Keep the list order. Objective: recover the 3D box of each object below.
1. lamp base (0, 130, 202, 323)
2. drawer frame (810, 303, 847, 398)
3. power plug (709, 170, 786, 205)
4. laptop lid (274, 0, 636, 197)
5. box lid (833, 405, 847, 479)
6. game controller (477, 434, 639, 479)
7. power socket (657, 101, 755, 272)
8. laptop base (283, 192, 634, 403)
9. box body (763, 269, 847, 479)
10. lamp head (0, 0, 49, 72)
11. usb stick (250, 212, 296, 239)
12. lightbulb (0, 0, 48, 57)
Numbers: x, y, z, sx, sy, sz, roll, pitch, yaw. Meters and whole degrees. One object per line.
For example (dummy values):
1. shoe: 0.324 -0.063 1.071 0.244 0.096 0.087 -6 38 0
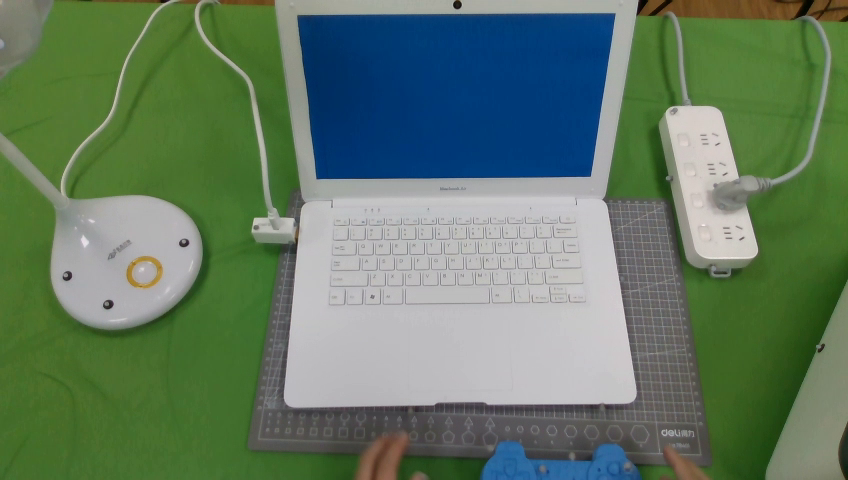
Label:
1. lamp base: -0.339 -0.024 0.603 0.178 0.182 0.160 26 66 15
2. drawer frame: 0.525 0.105 0.587 0.200 0.083 0.213 38 66 15
3. power plug: 0.356 -0.052 0.675 0.072 0.053 0.035 11 64 4
4. laptop lid: 0.031 -0.148 0.641 0.357 0.243 0.013 -2 33 0
5. box lid: 0.506 0.098 0.473 0.262 0.015 0.370 32 69 15
6. game controller: 0.123 0.229 0.554 0.155 0.052 0.096 2 61 0
7. power socket: 0.326 -0.071 0.710 0.072 0.033 0.225 1 64 -1
8. laptop base: 0.034 0.055 0.655 0.354 0.023 0.233 -1 67 -1
9. box body: 0.505 0.133 0.539 0.253 0.161 0.363 32 68 14
10. lamp head: -0.288 -0.156 0.330 0.123 0.112 0.112 29 65 -12
11. usb stick: -0.161 -0.016 0.674 0.059 0.027 0.021 4 58 -2
12. lightbulb: -0.256 -0.152 0.329 0.059 0.059 0.108 -38 108 -17
